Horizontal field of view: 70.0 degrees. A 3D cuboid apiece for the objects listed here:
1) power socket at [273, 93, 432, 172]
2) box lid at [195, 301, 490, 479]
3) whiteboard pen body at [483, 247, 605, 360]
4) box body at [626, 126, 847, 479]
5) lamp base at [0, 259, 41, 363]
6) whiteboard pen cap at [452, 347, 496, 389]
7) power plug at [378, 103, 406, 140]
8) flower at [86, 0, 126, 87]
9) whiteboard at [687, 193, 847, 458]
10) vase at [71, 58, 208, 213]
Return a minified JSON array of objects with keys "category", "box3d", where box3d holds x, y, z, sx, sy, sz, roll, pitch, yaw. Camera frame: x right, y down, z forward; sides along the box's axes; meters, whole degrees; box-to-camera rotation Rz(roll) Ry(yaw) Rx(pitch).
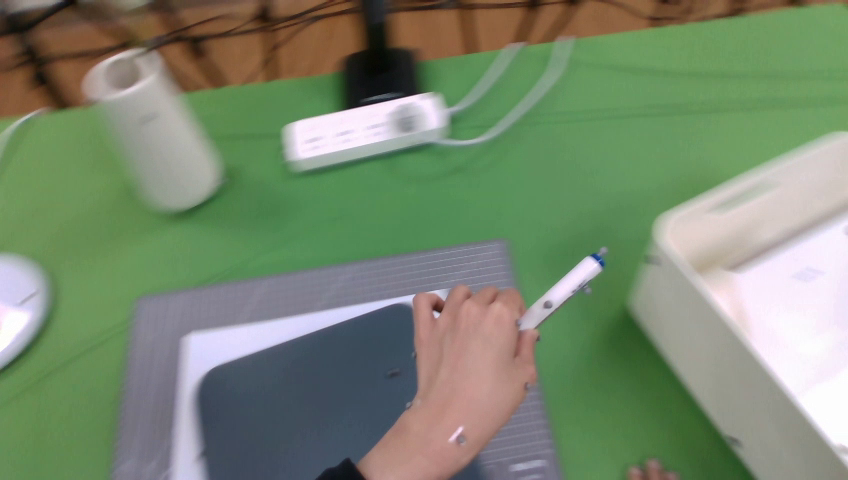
[{"category":"power socket","box3d":[-0.097,-0.149,0.831,0.227,0.033,0.071,-14,59,-6]},{"category":"box lid","box3d":[-0.071,0.246,0.596,0.263,0.015,0.367,-19,60,-9]},{"category":"whiteboard pen body","box3d":[0.082,0.056,0.459,0.141,0.017,0.017,-41,63,-4]},{"category":"box body","box3d":[0.398,0.102,0.571,0.254,0.162,0.360,-25,60,-12]},{"category":"lamp base","box3d":[-0.548,0.047,0.648,0.178,0.182,0.160,18,60,18]},{"category":"whiteboard pen cap","box3d":[0.039,0.096,0.456,0.033,0.018,0.018,-41,63,-3]},{"category":"power plug","box3d":[-0.042,-0.149,0.802,0.035,0.053,0.072,-5,64,0]},{"category":"flower","box3d":[-0.321,-0.159,0.656,0.038,0.363,0.044,38,57,5]},{"category":"whiteboard","box3d":[0.399,0.097,0.585,0.217,0.145,0.302,-25,59,-13]},{"category":"vase","box3d":[-0.338,-0.120,0.729,0.098,0.202,0.097,-2,58,4]}]
